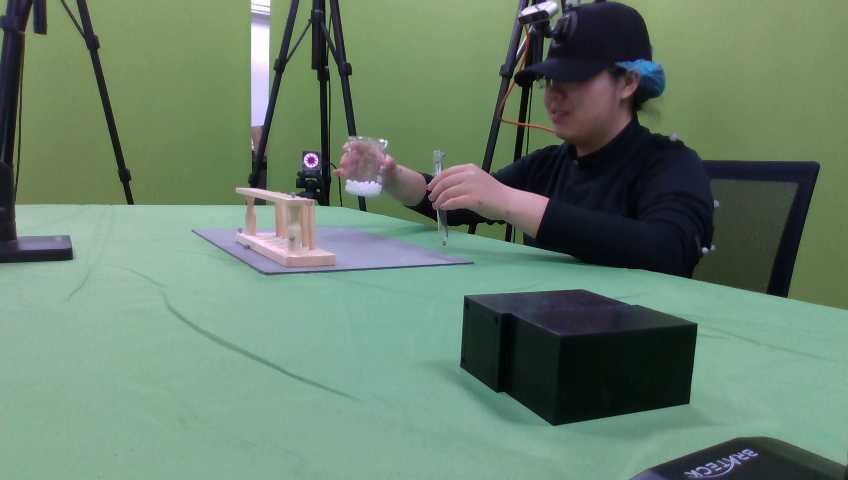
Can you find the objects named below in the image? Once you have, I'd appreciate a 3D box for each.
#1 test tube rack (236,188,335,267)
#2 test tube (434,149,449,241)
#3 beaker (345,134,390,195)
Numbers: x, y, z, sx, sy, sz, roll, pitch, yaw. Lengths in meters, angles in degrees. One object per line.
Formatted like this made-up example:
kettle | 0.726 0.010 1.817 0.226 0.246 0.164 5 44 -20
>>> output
test tube rack | -0.202 -0.024 0.855 0.067 0.085 0.241 -2 8 -31
test tube | 0.028 -0.073 0.976 0.017 0.150 0.017 -4 -6 0
beaker | -0.101 -0.134 1.079 0.083 0.100 0.074 18 18 38
